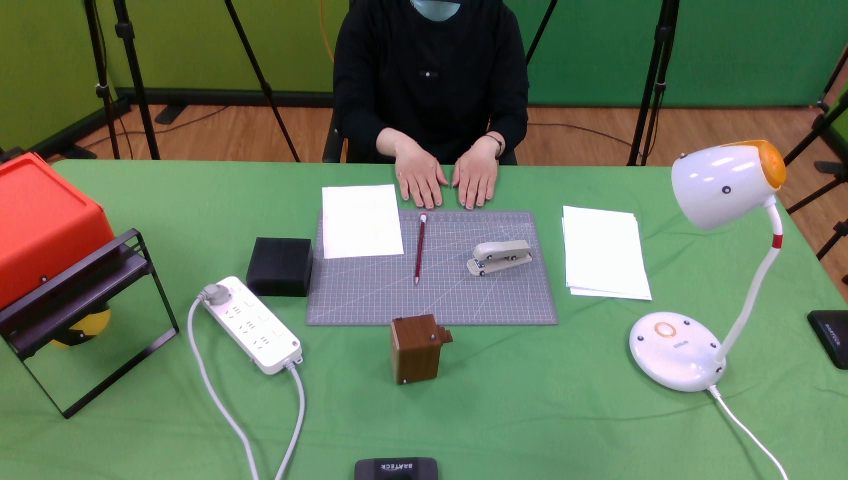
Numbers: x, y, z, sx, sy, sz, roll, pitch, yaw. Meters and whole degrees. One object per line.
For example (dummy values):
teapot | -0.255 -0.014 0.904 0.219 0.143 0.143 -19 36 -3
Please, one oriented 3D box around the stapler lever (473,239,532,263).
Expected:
stapler lever | 0.150 0.017 1.155 0.118 0.040 0.026 -13 50 -17

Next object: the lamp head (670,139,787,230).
lamp head | 0.415 -0.079 0.812 0.113 0.123 0.112 13 70 -37

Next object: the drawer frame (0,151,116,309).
drawer frame | -0.604 -0.013 0.876 0.201 0.083 0.213 31 52 23

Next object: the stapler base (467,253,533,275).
stapler base | 0.147 0.034 1.172 0.131 0.024 0.041 -12 50 -18

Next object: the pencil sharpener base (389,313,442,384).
pencil sharpener base | -0.013 0.175 0.971 0.077 0.107 0.061 -8 47 -11

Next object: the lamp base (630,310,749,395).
lamp base | 0.447 0.142 0.984 0.161 0.181 0.178 -24 55 -24

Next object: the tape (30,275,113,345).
tape | -0.594 0.117 1.022 0.117 0.053 0.116 2 45 -2

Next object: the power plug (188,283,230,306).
power plug | -0.368 0.099 1.037 0.072 0.053 0.035 -24 52 -25

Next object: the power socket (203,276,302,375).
power socket | -0.297 0.141 1.034 0.072 0.033 0.225 -34 58 -30

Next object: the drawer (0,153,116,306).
drawer | -0.601 -0.015 0.880 0.193 0.073 0.211 32 53 23

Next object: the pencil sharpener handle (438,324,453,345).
pencil sharpener handle | 0.036 0.155 0.976 0.031 0.068 0.036 -8 70 -11

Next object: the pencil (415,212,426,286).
pencil | -0.007 0.014 1.190 0.012 0.012 0.193 5 47 1
